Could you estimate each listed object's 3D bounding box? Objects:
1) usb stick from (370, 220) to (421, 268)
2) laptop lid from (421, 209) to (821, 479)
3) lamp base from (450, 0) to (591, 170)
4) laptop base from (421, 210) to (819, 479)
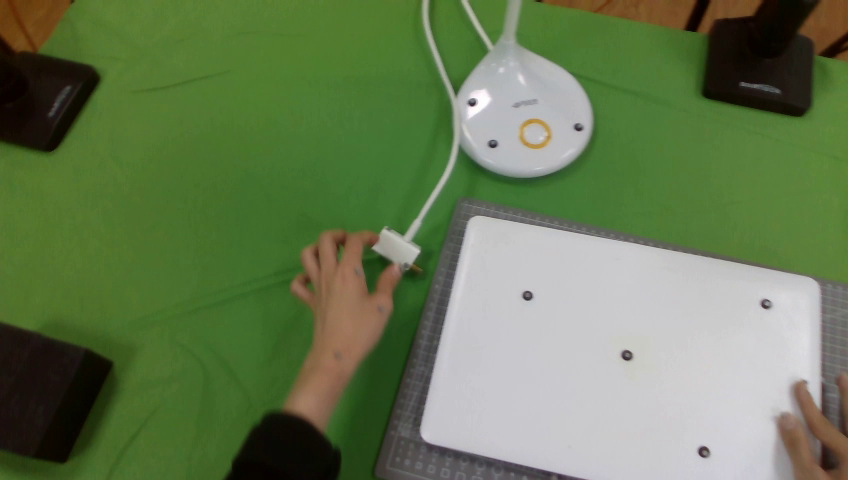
[{"bbox_3d":[-0.024,0.006,0.624,0.059,0.021,0.027,36,101,-9],"label":"usb stick"},{"bbox_3d":[0.191,0.105,0.572,0.356,0.013,0.240,13,70,7],"label":"laptop lid"},{"bbox_3d":[0.102,-0.192,0.629,0.161,0.181,0.177,-23,64,-8],"label":"lamp base"},{"bbox_3d":[0.192,0.108,0.584,0.354,0.023,0.234,11,70,6],"label":"laptop base"}]
